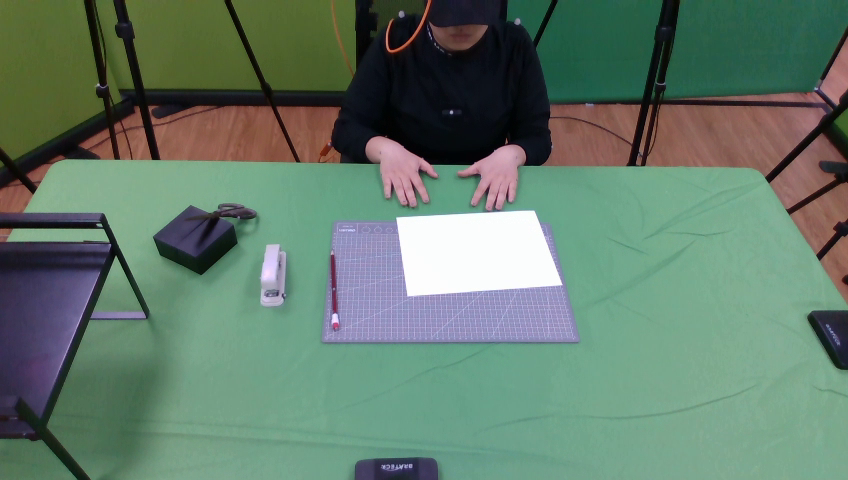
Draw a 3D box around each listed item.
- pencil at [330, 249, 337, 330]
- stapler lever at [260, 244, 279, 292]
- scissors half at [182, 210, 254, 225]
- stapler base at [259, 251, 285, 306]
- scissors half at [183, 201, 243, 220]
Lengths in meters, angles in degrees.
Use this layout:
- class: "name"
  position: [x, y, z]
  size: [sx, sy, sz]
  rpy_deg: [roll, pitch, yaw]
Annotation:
- class: "pencil"
  position: [-0.167, 0.085, 1.107]
  size: [0.012, 0.012, 0.192]
  rpy_deg: [-3, 45, -7]
- class: "stapler lever"
  position: [-0.279, 0.045, 1.096]
  size: [0.027, 0.040, 0.117]
  rpy_deg: [-2, 44, -9]
- class: "scissors half"
  position: [-0.390, -0.042, 1.158]
  size: [0.040, 0.013, 0.175]
  rpy_deg: [42, 21, 22]
- class: "stapler base"
  position: [-0.279, 0.064, 1.113]
  size: [0.041, 0.024, 0.129]
  rpy_deg: [-1, 44, -9]
- class: "scissors half"
  position: [-0.405, -0.054, 1.163]
  size: [0.040, 0.013, 0.175]
  rpy_deg: [30, 18, 6]
